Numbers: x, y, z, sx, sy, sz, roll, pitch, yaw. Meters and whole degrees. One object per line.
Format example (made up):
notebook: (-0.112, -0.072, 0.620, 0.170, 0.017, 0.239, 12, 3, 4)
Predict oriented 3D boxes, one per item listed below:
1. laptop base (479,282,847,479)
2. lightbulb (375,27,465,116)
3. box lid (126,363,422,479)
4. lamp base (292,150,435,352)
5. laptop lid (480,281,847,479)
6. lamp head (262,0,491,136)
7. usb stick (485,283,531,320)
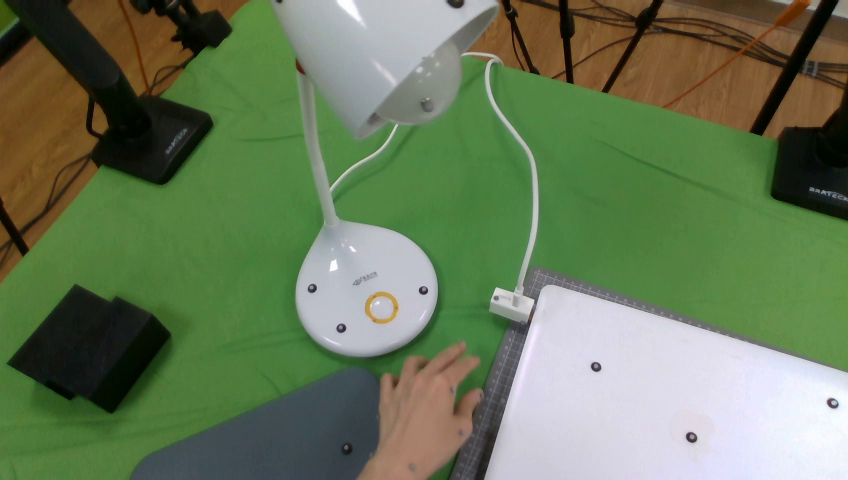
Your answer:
laptop base: (0.254, 0.190, 0.594, 0.353, 0.023, 0.234, 16, 64, 11)
lightbulb: (-0.013, -0.124, 0.342, 0.059, 0.059, 0.108, -19, 99, -9)
box lid: (-0.104, 0.309, 0.537, 0.263, 0.015, 0.368, -22, 62, -11)
lamp base: (-0.079, 0.003, 0.621, 0.160, 0.182, 0.177, -35, 61, -18)
laptop lid: (0.253, 0.186, 0.583, 0.355, 0.013, 0.240, 18, 63, 12)
lamp head: (-0.041, -0.137, 0.350, 0.123, 0.112, 0.112, 46, 68, -1)
usb stick: (0.098, 0.069, 0.656, 0.059, 0.027, 0.021, 20, 57, 10)
